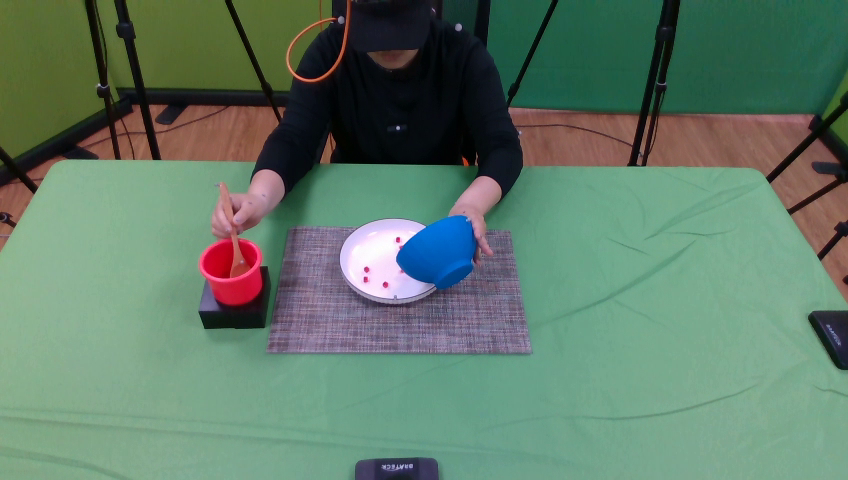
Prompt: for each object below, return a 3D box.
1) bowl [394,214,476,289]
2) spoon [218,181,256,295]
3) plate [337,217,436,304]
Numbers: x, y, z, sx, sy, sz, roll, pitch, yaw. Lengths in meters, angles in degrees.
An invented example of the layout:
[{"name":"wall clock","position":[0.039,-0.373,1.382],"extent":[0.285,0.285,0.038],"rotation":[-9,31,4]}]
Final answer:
[{"name":"bowl","position":[0.034,0.031,1.040],"extent":[0.151,0.152,0.076],"rotation":[-22,67,-22]},{"name":"spoon","position":[-0.317,-0.003,1.015],"extent":[0.042,0.194,0.021],"rotation":[-11,7,-21]},{"name":"plate","position":[-0.058,0.042,1.137],"extent":[0.208,0.039,0.206],"rotation":[2,46,-2]}]
